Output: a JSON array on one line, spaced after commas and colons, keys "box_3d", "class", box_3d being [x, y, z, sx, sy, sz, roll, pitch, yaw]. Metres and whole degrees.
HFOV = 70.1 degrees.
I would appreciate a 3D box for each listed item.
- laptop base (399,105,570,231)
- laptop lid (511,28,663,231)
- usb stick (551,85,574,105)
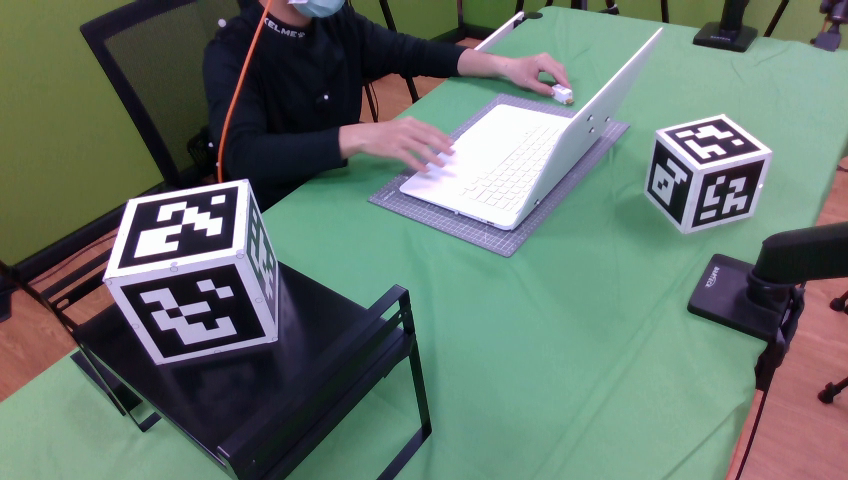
[{"box_3d": [0.149, -0.147, 1.123, 0.233, 0.023, 0.355, 20, 47, 32], "class": "laptop base"}, {"box_3d": [0.265, -0.179, 0.972, 0.013, 0.242, 0.357, 36, 53, 14], "class": "laptop lid"}, {"box_3d": [0.295, -0.304, 1.279, 0.021, 0.027, 0.058, -21, 43, -23], "class": "usb stick"}]
